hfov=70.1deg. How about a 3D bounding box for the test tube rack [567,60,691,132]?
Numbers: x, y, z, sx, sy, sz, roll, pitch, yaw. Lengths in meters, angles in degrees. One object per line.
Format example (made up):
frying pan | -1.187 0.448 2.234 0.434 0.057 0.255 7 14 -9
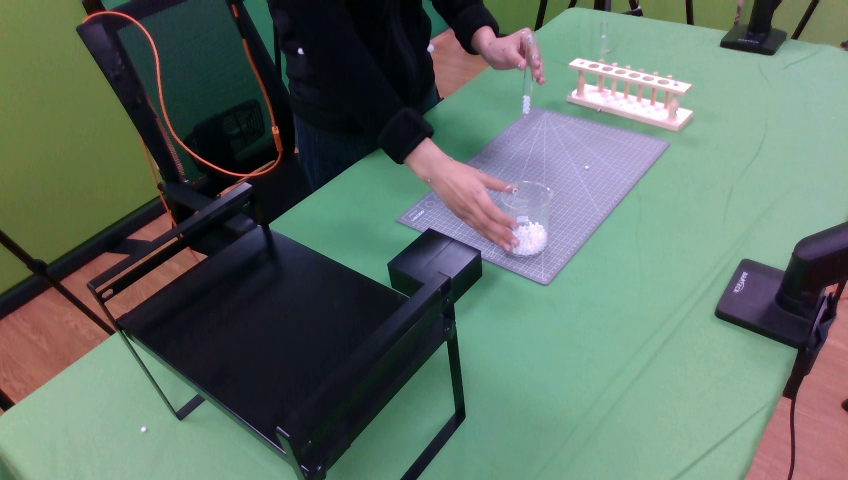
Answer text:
test tube rack | 0.411 -0.299 1.217 0.240 0.085 0.067 26 51 34

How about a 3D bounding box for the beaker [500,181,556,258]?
beaker | 0.158 -0.030 0.922 0.084 0.100 0.073 -12 41 -7

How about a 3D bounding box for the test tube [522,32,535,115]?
test tube | 0.179 -0.282 1.038 0.017 0.151 0.017 -2 42 2

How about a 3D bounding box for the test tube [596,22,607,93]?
test tube | 0.364 -0.372 1.240 0.017 0.151 0.017 -6 40 5
